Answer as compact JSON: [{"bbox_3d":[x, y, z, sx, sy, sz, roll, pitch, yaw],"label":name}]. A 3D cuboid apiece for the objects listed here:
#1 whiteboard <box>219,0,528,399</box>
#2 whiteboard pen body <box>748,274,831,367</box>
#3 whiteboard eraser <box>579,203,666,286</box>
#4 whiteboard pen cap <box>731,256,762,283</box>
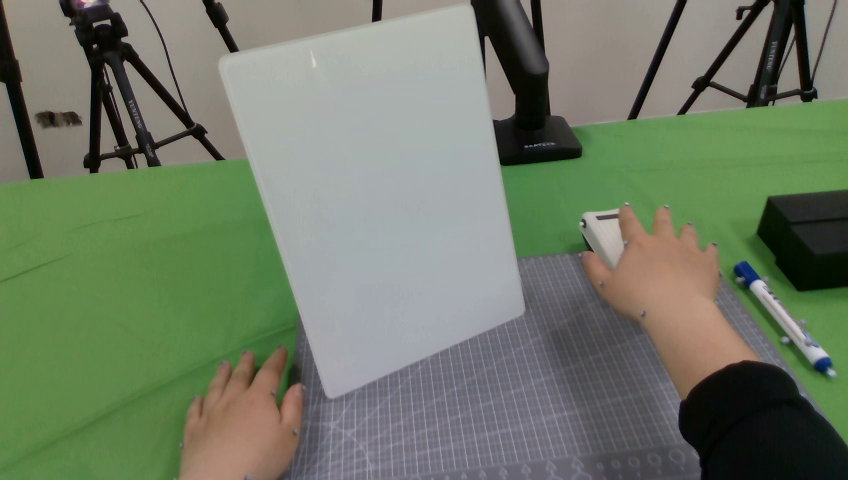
[{"bbox_3d":[-0.049,-0.047,0.588,0.217,0.307,0.142,-20,21,-19],"label":"whiteboard"},{"bbox_3d":[0.347,0.068,0.591,0.017,0.017,0.139,-7,37,-3],"label":"whiteboard pen body"},{"bbox_3d":[0.214,0.005,0.661,0.055,0.042,0.111,-9,38,-3],"label":"whiteboard eraser"},{"bbox_3d":[0.339,0.032,0.636,0.018,0.018,0.033,-8,36,-4],"label":"whiteboard pen cap"}]
